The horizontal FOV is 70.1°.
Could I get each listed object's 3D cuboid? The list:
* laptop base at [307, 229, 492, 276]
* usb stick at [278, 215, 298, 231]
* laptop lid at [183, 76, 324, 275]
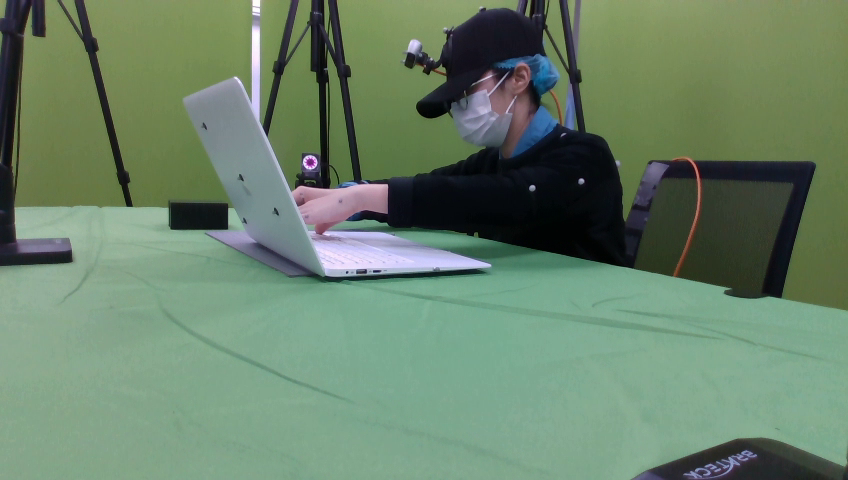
[{"bbox_3d":[-0.094,0.015,0.888,0.237,0.023,0.352,1,7,-30],"label":"laptop base"},{"bbox_3d":[-0.242,-0.030,1.069,0.021,0.027,0.059,8,6,3],"label":"usb stick"},{"bbox_3d":[-0.237,-0.085,0.791,0.013,0.242,0.355,-29,22,-23],"label":"laptop lid"}]
